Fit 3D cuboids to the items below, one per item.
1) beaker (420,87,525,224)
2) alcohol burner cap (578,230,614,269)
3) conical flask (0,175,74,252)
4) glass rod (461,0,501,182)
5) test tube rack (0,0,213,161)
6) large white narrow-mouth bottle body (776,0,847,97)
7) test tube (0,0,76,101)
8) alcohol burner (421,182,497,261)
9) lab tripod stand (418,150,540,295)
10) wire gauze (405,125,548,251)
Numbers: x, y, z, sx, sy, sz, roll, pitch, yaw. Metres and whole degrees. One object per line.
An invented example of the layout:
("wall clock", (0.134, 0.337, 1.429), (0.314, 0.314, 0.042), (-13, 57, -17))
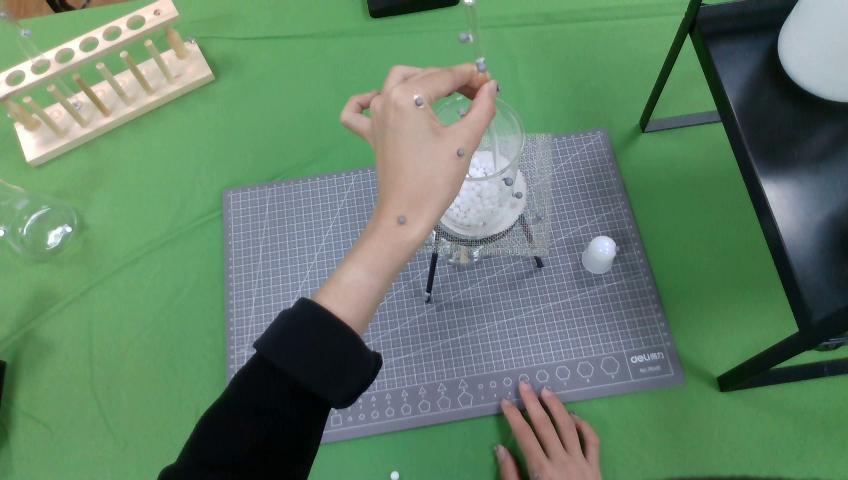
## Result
("beaker", (0.036, -0.060, 0.489), (0.084, 0.101, 0.073), (-31, 70, -9))
("alcohol burner cap", (0.179, 0.007, 0.625), (0.034, 0.048, 0.033), (-1, 67, 3))
("conical flask", (-0.442, -0.042, 0.643), (0.075, 0.123, 0.075), (-1, 67, 4))
("glass rod", (0.043, -0.097, 0.437), (0.008, 0.201, 0.008), (-5, 62, 10))
("test tube rack", (-0.391, -0.195, 0.723), (0.242, 0.086, 0.066), (-29, 68, -8))
("large white narrow-mouth bottle body", (0.337, -0.193, 0.424), (0.102, 0.196, 0.101), (-2, 68, 5))
("test tube", (-0.437, -0.210, 0.678), (0.017, 0.151, 0.017), (-2, 61, 3))
("alcohol burner", (0.035, -0.024, 0.608), (0.078, 0.120, 0.077), (-1, 66, 2))
("lab tripod stand", (0.048, -0.017, 0.594), (0.148, 0.132, 0.147), (-1, 66, 2))
("wire gauze", (0.049, -0.048, 0.535), (0.121, 0.011, 0.124), (4, 66, 3))
